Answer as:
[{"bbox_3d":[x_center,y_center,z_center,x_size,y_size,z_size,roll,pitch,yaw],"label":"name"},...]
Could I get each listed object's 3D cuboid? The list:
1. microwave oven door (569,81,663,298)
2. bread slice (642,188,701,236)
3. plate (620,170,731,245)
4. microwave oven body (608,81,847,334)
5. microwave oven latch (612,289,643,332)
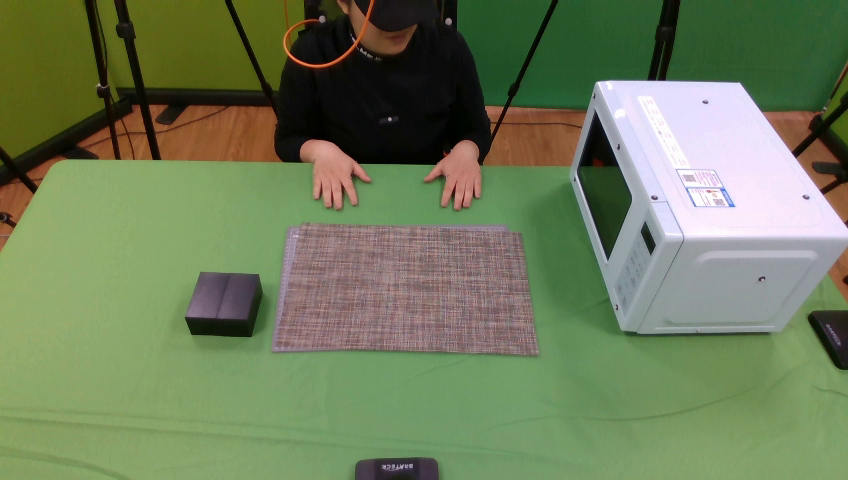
[{"bbox_3d":[0.353,-0.104,1.147,0.039,0.245,0.353,0,46,-4],"label":"microwave oven door"},{"bbox_3d":[0.494,-0.056,1.197,0.105,0.019,0.131,6,42,4],"label":"bread slice"},{"bbox_3d":[0.490,-0.060,1.194,0.209,0.038,0.208,3,45,-2],"label":"plate"},{"bbox_3d":[0.501,-0.070,1.132,0.326,0.261,0.438,-1,45,-4],"label":"microwave oven body"},{"bbox_3d":[0.357,0.124,1.068,0.030,0.029,0.078,0,45,-3],"label":"microwave oven latch"}]
